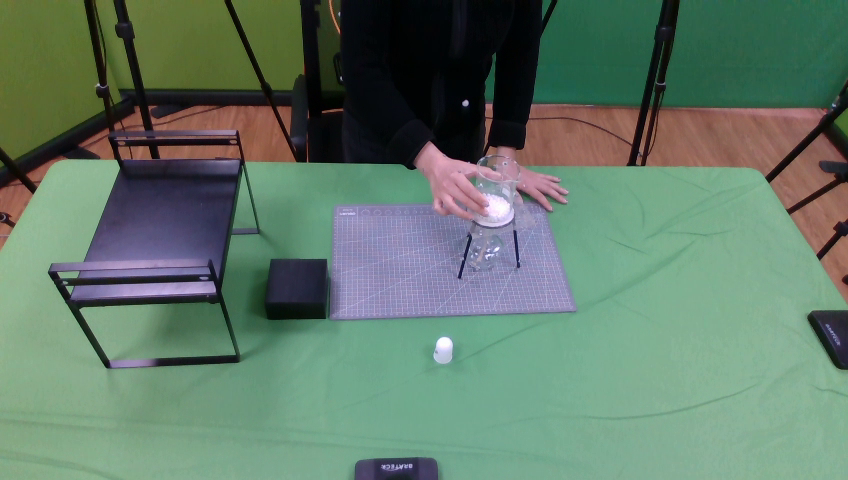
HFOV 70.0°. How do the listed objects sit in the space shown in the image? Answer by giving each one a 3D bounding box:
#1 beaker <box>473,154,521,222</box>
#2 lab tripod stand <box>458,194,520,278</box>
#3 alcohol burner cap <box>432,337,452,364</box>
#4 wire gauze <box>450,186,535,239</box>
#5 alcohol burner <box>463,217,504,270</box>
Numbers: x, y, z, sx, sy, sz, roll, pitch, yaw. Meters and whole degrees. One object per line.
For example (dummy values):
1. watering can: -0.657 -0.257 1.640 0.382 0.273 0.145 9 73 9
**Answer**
1. beaker: 0.125 -0.086 1.051 0.083 0.101 0.074 29 51 23
2. lab tripod stand: 0.115 -0.011 1.135 0.148 0.132 0.147 1 45 -1
3. alcohol burner cap: 0.031 0.182 1.011 0.034 0.048 0.033 4 45 -3
4. wire gauze: 0.122 -0.056 1.088 0.121 0.011 0.124 -10 44 -16
5. alcohol burner: 0.114 0.000 1.139 0.078 0.119 0.077 3 48 -3
